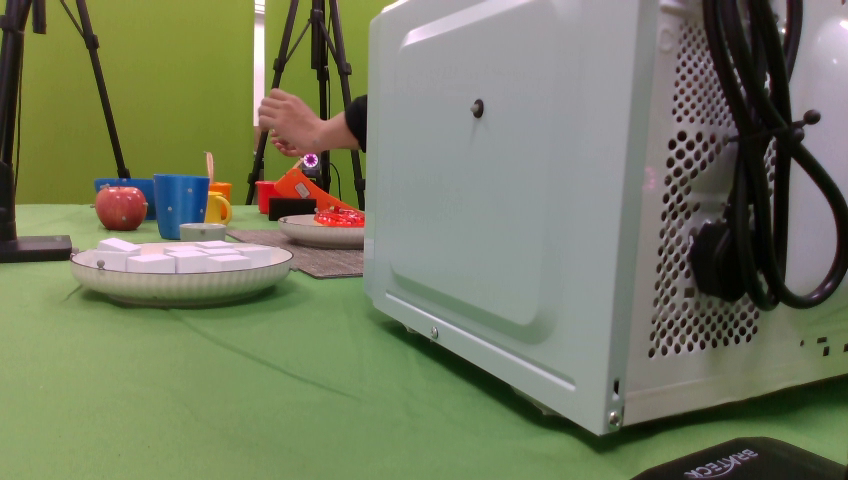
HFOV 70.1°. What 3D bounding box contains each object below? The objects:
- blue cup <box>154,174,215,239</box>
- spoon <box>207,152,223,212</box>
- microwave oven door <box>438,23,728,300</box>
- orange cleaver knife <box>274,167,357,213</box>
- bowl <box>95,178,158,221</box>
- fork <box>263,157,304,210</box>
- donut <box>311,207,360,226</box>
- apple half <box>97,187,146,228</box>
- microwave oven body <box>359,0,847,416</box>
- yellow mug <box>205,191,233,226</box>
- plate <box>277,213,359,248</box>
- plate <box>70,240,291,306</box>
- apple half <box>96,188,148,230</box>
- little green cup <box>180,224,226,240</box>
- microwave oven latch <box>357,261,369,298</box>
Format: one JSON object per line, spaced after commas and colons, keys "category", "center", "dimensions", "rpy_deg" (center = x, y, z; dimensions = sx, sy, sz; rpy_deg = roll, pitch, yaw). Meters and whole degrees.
{"category": "blue cup", "center": [-0.391, -0.053, 0.978], "dimensions": [0.093, 0.100, 0.092], "rpy_deg": [4, 6, 0]}
{"category": "spoon", "center": [-0.463, -0.125, 1.320], "dimensions": [0.042, 0.193, 0.021], "rpy_deg": [-1, -36, -21]}
{"category": "microwave oven door", "center": [0.181, -0.073, 0.620], "dimensions": [0.358, 0.243, 0.039], "rpy_deg": [-2, 8, -29]}
{"category": "orange cleaver knife", "center": [-0.238, -0.090, 1.381], "dimensions": [0.212, 0.077, 0.012], "rpy_deg": [31, 1, -19]}
{"category": "bowl", "center": [-0.576, -0.081, 1.217], "dimensions": [0.151, 0.077, 0.151], "rpy_deg": [3, 8, 0]}
{"category": "fork", "center": [-0.345, -0.143, 1.505], "dimensions": [0.028, 0.019, 0.207], "rpy_deg": [-5, 45, 28]}
{"category": "donut", "center": [-0.137, -0.029, 0.995], "dimensions": [0.099, 0.048, 0.099], "rpy_deg": [4, 8, 0]}
{"category": "apple half", "center": [-0.535, -0.059, 1.072], "dimensions": [0.082, 0.081, 0.032], "rpy_deg": [-1, 8, -25]}
{"category": "microwave oven body", "center": [0.211, -0.047, 0.474], "dimensions": [0.444, 0.260, 0.324], "rpy_deg": [-1, 7, -28]}
{"category": "yellow mug", "center": [-0.415, -0.057, 1.131], "dimensions": [0.130, 0.064, 0.100], "rpy_deg": [6, 8, 16]}
{"category": "plate", "center": [-0.135, -0.017, 0.992], "dimensions": [0.209, 0.038, 0.209], "rpy_deg": [3, 8, 0]}
{"category": "plate", "center": [-0.242, 0.032, 0.618], "dimensions": [0.208, 0.039, 0.207], "rpy_deg": [2, 8, 0]}
{"category": "apple half", "center": [-0.517, -0.052, 1.036], "dimensions": [0.081, 0.074, 0.053], "rpy_deg": [2, 10, -26]}
{"category": "little green cup", "center": [-0.309, -0.001, 0.846], "dimensions": [0.061, 0.038, 0.061], "rpy_deg": [2, 8, 0]}
{"category": "microwave oven latch", "center": [-0.019, 0.034, 0.530], "dimensions": [0.079, 0.029, 0.030], "rpy_deg": [0, 7, -25]}
